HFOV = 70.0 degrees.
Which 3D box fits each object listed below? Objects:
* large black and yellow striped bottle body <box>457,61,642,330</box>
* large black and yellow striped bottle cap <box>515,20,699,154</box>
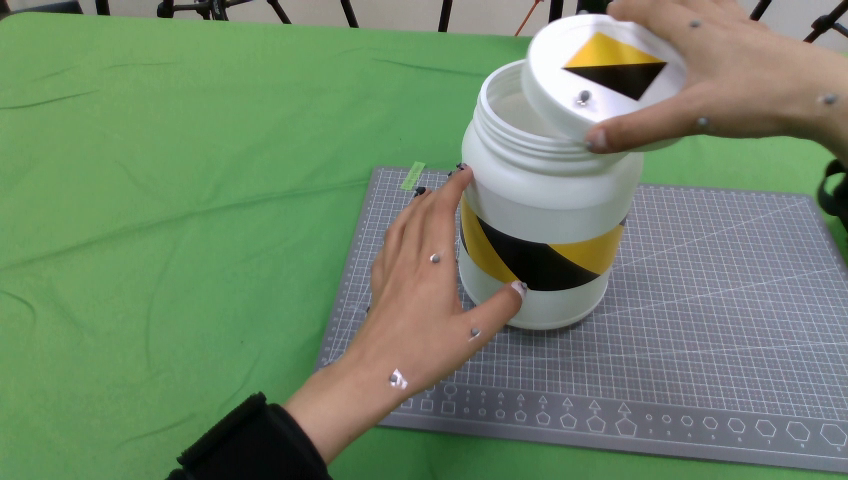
[{"bbox_3d":[0.092,-0.032,0.473,0.131,0.185,0.129,0,45,1],"label":"large black and yellow striped bottle body"},{"bbox_3d":[0.116,-0.101,0.386,0.115,0.019,0.114,4,52,-5],"label":"large black and yellow striped bottle cap"}]
